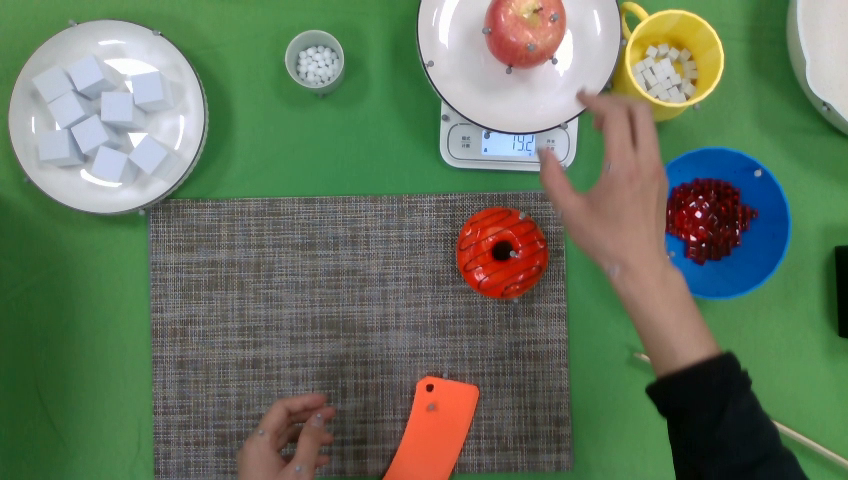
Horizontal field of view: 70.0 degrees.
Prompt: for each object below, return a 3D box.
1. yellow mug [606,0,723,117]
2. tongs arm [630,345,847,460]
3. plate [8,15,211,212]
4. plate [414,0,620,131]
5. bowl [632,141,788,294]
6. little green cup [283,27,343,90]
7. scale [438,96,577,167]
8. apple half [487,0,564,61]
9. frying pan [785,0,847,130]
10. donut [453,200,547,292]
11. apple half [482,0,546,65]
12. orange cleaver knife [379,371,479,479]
[{"bbox_3d":[0.241,-0.199,0.638,0.100,0.064,0.130,-34,88,0],"label":"yellow mug"},{"bbox_3d":[0.393,0.209,0.648,0.387,0.028,0.028,29,81,0],"label":"tongs arm"},{"bbox_3d":[-0.329,-0.132,0.647,0.208,0.039,0.207,0,89,0],"label":"plate"},{"bbox_3d":[0.093,-0.214,0.622,0.209,0.038,0.209,0,89,-1],"label":"plate"},{"bbox_3d":[0.281,-0.021,0.629,0.151,0.077,0.151,0,89,0],"label":"bowl"},{"bbox_3d":[-0.115,-0.192,0.649,0.061,0.038,0.061,0,88,0],"label":"little green cup"},{"bbox_3d":[0.093,-0.182,0.654,0.149,0.031,0.200,3,89,0],"label":"scale"},{"bbox_3d":[0.106,-0.222,0.596,0.080,0.075,0.053,44,86,4],"label":"apple half"},{"bbox_3d":[0.567,-0.142,0.620,0.307,0.103,0.486,-28,81,0],"label":"frying pan"},{"bbox_3d":[0.079,0.006,0.640,0.099,0.048,0.099,0,90,2],"label":"donut"},{"bbox_3d":[0.080,-0.194,0.594,0.081,0.081,0.033,43,86,1],"label":"apple half"},{"bbox_3d":[-0.011,0.237,0.646,0.077,0.012,0.211,27,86,-6],"label":"orange cleaver knife"}]
